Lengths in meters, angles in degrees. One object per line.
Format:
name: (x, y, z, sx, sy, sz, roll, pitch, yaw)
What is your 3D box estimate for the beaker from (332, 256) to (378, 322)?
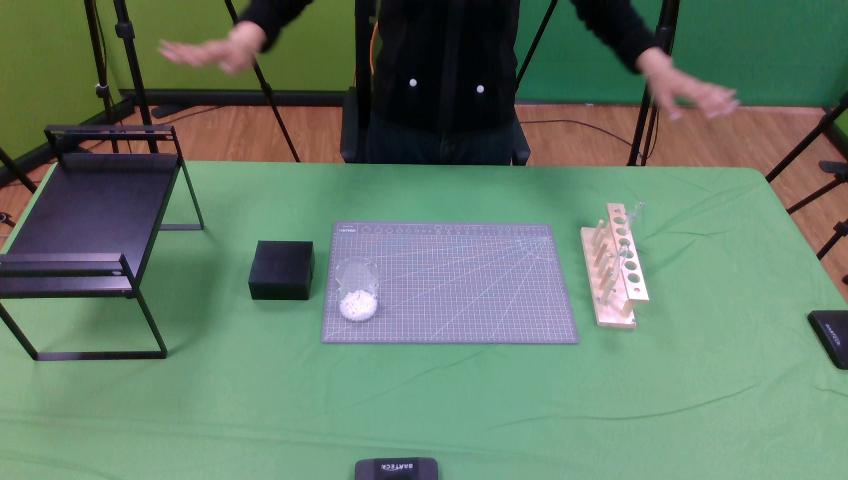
beaker: (-0.114, 0.089, 1.047, 0.083, 0.101, 0.074, 30, 51, 21)

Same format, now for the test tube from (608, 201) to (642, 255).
test tube: (0.374, -0.019, 1.134, 0.017, 0.151, 0.017, 3, 52, -4)

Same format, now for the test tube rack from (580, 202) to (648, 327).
test tube rack: (0.352, 0.040, 1.143, 0.067, 0.085, 0.241, 4, 46, 0)

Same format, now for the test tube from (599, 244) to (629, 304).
test tube: (0.331, 0.061, 1.059, 0.017, 0.151, 0.017, 2, 46, -1)
